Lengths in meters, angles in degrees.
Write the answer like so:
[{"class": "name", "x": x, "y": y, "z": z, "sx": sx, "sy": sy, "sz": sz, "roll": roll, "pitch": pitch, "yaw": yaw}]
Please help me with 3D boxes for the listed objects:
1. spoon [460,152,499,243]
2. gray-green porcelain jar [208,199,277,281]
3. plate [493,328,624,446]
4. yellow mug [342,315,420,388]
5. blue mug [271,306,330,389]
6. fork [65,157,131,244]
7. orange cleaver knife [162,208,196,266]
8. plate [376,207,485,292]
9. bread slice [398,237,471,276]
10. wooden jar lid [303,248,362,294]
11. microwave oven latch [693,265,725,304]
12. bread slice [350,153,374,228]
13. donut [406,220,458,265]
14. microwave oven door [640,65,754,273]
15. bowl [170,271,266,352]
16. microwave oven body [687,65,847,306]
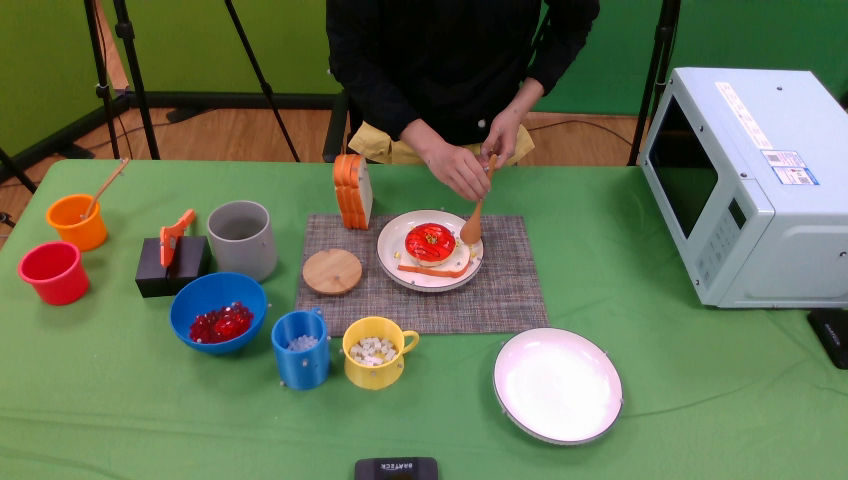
[{"class": "spoon", "x": 0.105, "y": -0.075, "z": 1.116, "sx": 0.041, "sy": 0.194, "sz": 0.021, "roll": 17, "pitch": 28, "yaw": 5}, {"class": "gray-green porcelain jar", "x": -0.323, "y": 0.007, "z": 1.092, "sx": 0.106, "sy": 0.127, "sz": 0.105, "roll": 2, "pitch": 46, "yaw": -2}, {"class": "plate", "x": 0.213, "y": 0.236, "z": 0.974, "sx": 0.208, "sy": 0.039, "sz": 0.206, "roll": 2, "pitch": 46, "yaw": -2}, {"class": "yellow mug", "x": -0.068, "y": 0.177, "z": 0.990, "sx": 0.131, "sy": 0.064, "sz": 0.099, "roll": -15, "pitch": 50, "yaw": -19}, {"class": "blue mug", "x": -0.188, "y": 0.163, "z": 0.969, "sx": 0.082, "sy": 0.106, "sz": 0.116, "roll": 15, "pitch": 47, "yaw": 10}, {"class": "fork", "x": -0.609, "y": -0.074, "z": 1.132, "sx": 0.207, "sy": 0.019, "sz": 0.028, "roll": -52, "pitch": 50, "yaw": 10}, {"class": "orange cleaver knife", "x": -0.454, "y": -0.010, "z": 1.129, "sx": 0.012, "sy": 0.077, "sz": 0.210, "roll": -2, "pitch": 17, "yaw": -6}, {"class": "plate", "x": 0.012, "y": 0.021, "z": 1.159, "sx": 0.209, "sy": 0.038, "sz": 0.208, "roll": 2, "pitch": 47, "yaw": -2}, {"class": "bread slice", "x": 0.025, "y": 0.023, "z": 1.159, "sx": 0.131, "sy": 0.019, "sz": 0.104, "roll": 8, "pitch": 46, "yaw": 7}, {"class": "wooden jar lid", "x": -0.169, "y": 0.060, "z": 1.122, "sx": 0.108, "sy": 0.021, "sz": 0.107, "roll": 2, "pitch": 45, "yaw": -2}, {"class": "microwave oven latch", "x": 0.522, "y": 0.081, "z": 1.115, "sx": 0.030, "sy": 0.029, "sz": 0.078, "roll": 2, "pitch": 46, "yaw": -1}, {"class": "bread slice", "x": -0.124, "y": -0.104, "z": 1.207, "sx": 0.018, "sy": 0.135, "sz": 0.106, "roll": -1, "pitch": 47, "yaw": 7}, {"class": "donut", "x": 0.014, "y": 0.004, "z": 1.136, "sx": 0.099, "sy": 0.048, "sz": 0.098, "roll": 1, "pitch": 48, "yaw": -1}, {"class": "microwave oven door", "x": 0.523, "y": -0.147, "z": 1.193, "sx": 0.039, "sy": 0.245, "sz": 0.353, "roll": 0, "pitch": 47, "yaw": -3}, {"class": "bowl", "x": -0.333, "y": 0.132, "z": 1.006, "sx": 0.151, "sy": 0.077, "sz": 0.150, "roll": 2, "pitch": 46, "yaw": -2}, {"class": "microwave oven body", "x": 0.669, "y": -0.112, "z": 1.176, "sx": 0.326, "sy": 0.261, "sz": 0.439, "roll": 0, "pitch": 46, "yaw": -3}]
